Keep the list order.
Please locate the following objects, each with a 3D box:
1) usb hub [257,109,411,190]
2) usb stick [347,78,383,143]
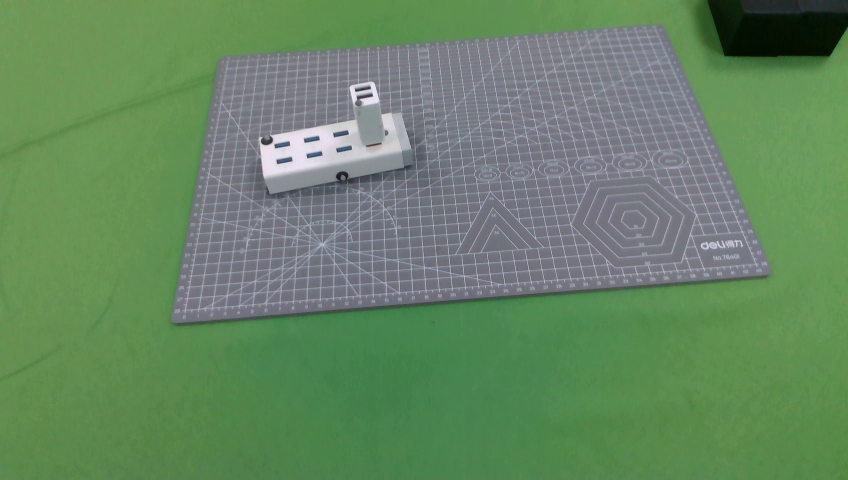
[{"bbox_3d":[-0.078,-0.079,0.520,0.125,0.025,0.049,-12,57,-6],"label":"usb hub"},{"bbox_3d":[-0.047,-0.101,0.495,0.021,0.060,0.027,-14,54,-6],"label":"usb stick"}]
